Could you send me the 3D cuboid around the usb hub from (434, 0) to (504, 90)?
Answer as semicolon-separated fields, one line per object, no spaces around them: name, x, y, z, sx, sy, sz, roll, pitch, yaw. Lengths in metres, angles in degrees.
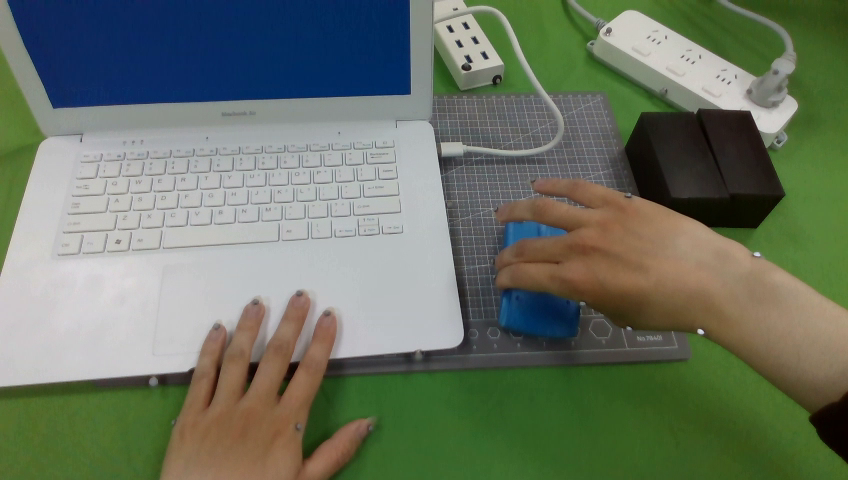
usb hub;0.037;-0.215;0.654;0.049;0.025;0.124;-16;59;-14

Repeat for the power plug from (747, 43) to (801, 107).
power plug;0.354;-0.155;0.604;0.072;0.053;0.035;-31;62;-19

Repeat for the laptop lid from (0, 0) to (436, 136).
laptop lid;-0.166;-0.187;0.486;0.357;0.244;0.013;-5;43;-5

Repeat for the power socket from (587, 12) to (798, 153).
power socket;0.279;-0.170;0.636;0.225;0.033;0.072;40;62;21

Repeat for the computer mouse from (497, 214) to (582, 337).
computer mouse;0.094;0.023;0.487;0.063;0.041;0.116;8;50;4

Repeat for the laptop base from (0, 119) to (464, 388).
laptop base;-0.155;-0.002;0.504;0.355;0.023;0.233;-4;60;-6
